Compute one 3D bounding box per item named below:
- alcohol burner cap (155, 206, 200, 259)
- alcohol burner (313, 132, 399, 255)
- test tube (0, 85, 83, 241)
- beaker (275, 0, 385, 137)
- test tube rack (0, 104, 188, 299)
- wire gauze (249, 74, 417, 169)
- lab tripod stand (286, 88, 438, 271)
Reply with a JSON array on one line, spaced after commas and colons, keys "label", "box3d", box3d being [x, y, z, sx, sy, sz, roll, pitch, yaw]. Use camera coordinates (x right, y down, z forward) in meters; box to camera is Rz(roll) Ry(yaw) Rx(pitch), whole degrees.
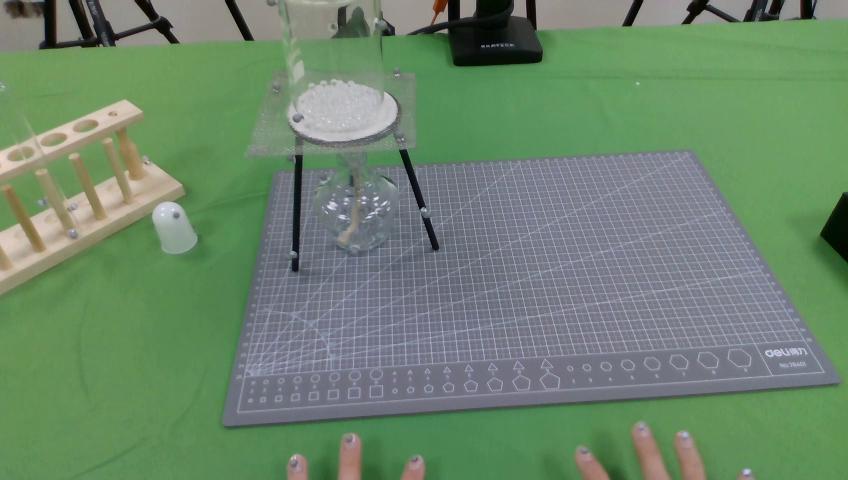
[{"label": "alcohol burner cap", "box3d": [-0.226, -0.010, 0.551, 0.034, 0.048, 0.033, 0, 44, 0]}, {"label": "alcohol burner", "box3d": [-0.060, -0.044, 0.528, 0.078, 0.120, 0.077, 1, 44, 0]}, {"label": "test tube", "box3d": [-0.321, -0.059, 0.507, 0.017, 0.151, 0.017, 0, 42, 0]}, {"label": "beaker", "box3d": [-0.065, -0.135, 0.443, 0.074, 0.101, 0.083, 5, 43, 3]}, {"label": "test tube rack", "box3d": [-0.345, -0.026, 0.538, 0.066, 0.086, 0.242, 31, 52, 30]}, {"label": "wire gauze", "box3d": [-0.066, -0.098, 0.474, 0.121, 0.011, 0.124, -1, 45, -1]}, {"label": "lab tripod stand", "box3d": [-0.057, -0.051, 0.521, 0.148, 0.132, 0.147, 1, 42, 0]}]
